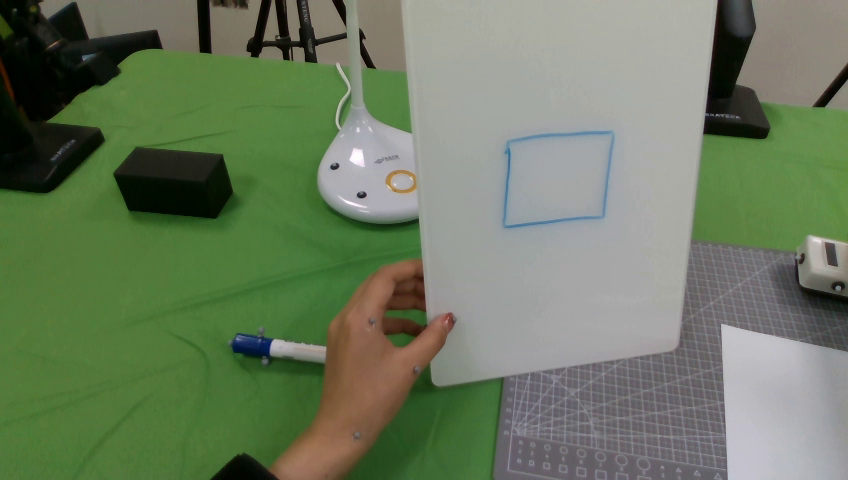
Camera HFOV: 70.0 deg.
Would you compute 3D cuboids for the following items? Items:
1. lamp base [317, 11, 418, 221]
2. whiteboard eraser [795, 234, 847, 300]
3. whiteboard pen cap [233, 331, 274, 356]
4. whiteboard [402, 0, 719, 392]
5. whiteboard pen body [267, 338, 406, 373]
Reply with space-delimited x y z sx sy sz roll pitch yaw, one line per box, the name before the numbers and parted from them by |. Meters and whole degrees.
lamp base | -0.050 -0.139 0.651 0.161 0.182 0.177 -27 47 -27
whiteboard eraser | 0.409 0.033 0.563 0.112 0.042 0.055 12 46 13
whiteboard pen cap | -0.143 0.088 0.514 0.033 0.018 0.018 9 43 0
whiteboard | 0.093 -0.055 0.509 0.217 0.307 0.142 -7 24 -6
whiteboard pen body | -0.084 0.096 0.510 0.141 0.017 0.017 7 43 3
